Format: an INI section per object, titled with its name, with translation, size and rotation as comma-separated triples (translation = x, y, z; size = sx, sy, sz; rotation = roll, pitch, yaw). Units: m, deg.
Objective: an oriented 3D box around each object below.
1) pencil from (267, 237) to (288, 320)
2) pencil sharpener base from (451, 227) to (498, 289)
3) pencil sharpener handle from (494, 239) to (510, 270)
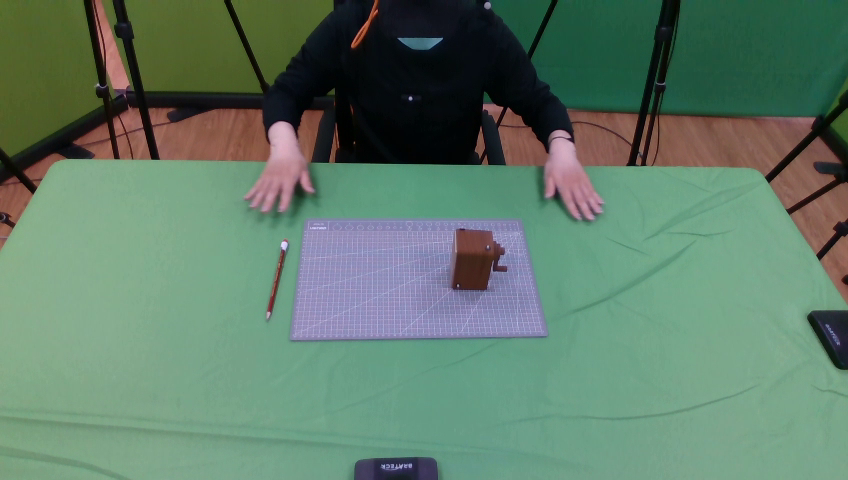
[pencil]
translation = -0.271, 0.068, 1.119
size = 0.012, 0.012, 0.193
rotation = 3, 48, -2
[pencil sharpener base]
translation = 0.091, 0.034, 1.103
size = 0.077, 0.107, 0.061
rotation = 3, 46, -1
[pencil sharpener handle]
translation = 0.143, 0.029, 1.094
size = 0.030, 0.068, 0.036
rotation = 3, 42, -1
